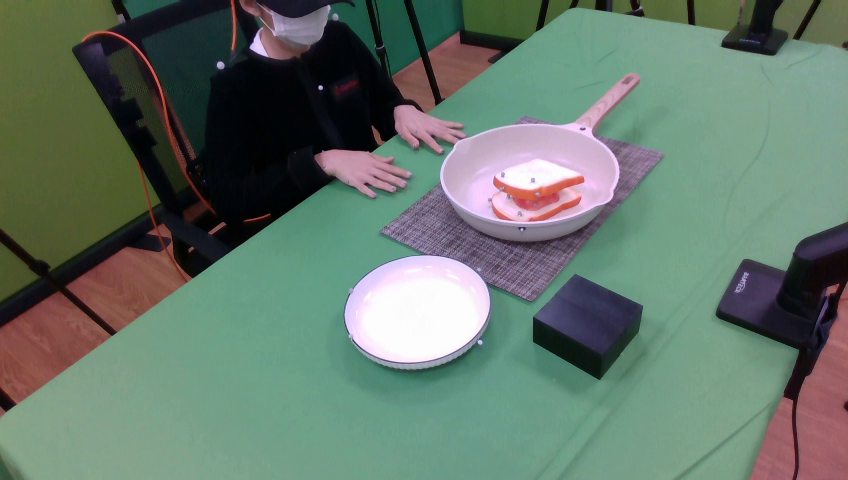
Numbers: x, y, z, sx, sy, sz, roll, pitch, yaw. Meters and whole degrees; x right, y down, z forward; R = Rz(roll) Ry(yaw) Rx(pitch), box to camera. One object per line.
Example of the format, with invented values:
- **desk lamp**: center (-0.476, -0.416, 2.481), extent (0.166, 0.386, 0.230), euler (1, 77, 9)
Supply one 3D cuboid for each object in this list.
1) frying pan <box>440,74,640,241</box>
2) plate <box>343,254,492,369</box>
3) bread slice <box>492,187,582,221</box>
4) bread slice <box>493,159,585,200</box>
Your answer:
- **frying pan**: center (0.245, -0.161, 1.058), extent (0.304, 0.103, 0.489), euler (30, 61, 35)
- **plate**: center (-0.008, 0.100, 0.847), extent (0.207, 0.039, 0.206), euler (-4, 40, 4)
- **bread slice**: center (0.183, -0.067, 1.016), extent (0.135, 0.018, 0.106), euler (-28, 43, -23)
- **bread slice**: center (0.182, -0.100, 0.985), extent (0.132, 0.019, 0.104), euler (-20, 33, -33)
